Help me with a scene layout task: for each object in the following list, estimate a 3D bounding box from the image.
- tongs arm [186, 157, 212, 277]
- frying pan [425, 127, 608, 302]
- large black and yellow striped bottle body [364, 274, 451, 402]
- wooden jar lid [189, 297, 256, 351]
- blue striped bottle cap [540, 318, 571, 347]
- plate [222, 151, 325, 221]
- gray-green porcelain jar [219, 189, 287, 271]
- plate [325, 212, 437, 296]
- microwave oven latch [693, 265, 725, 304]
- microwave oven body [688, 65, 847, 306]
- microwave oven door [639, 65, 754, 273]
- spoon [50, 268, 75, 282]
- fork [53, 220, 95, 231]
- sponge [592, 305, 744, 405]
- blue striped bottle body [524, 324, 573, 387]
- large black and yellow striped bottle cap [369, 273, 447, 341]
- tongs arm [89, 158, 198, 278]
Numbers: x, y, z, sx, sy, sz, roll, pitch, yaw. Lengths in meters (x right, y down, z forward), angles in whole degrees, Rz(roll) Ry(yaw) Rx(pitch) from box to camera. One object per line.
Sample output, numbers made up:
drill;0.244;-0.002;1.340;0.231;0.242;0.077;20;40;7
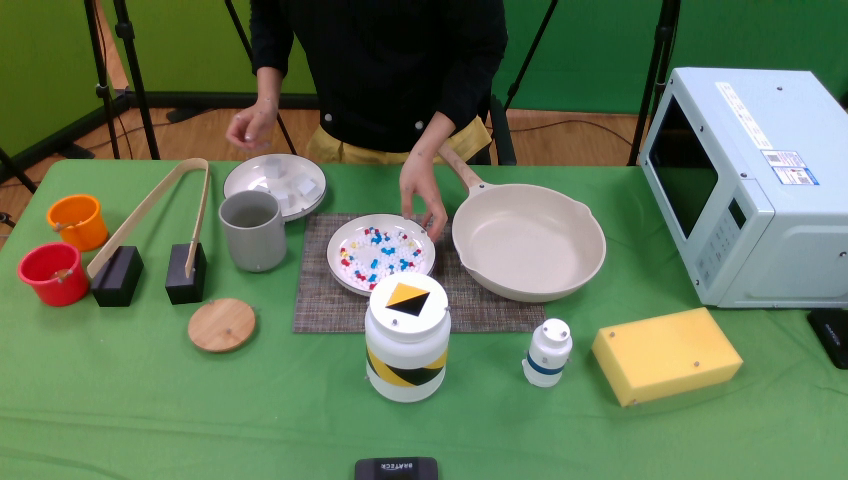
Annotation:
tongs arm;-0.445;-0.058;1.168;0.051;0.026;0.382;-5;37;-6
frying pan;0.143;-0.069;1.208;0.307;0.103;0.485;-23;60;-24
large black and yellow striped bottle body;-0.026;0.151;0.937;0.131;0.185;0.130;2;47;-2
wooden jar lid;-0.342;0.145;1.033;0.108;0.021;0.107;2;45;-2
blue striped bottle cap;0.203;0.142;0.933;0.044;0.021;0.044;3;49;-4
plate;-0.310;-0.106;1.262;0.208;0.039;0.206;2;47;-2
gray-green porcelain jar;-0.310;-0.014;1.113;0.106;0.127;0.105;2;46;-2
plate;-0.081;0.030;1.143;0.209;0.038;0.208;3;46;-3
microwave oven latch;0.523;0.081;1.116;0.030;0.029;0.078;2;46;-1
microwave oven body;0.669;-0.111;1.176;0.326;0.261;0.439;0;46;-3
microwave oven door;0.522;-0.147;1.193;0.039;0.245;0.353;0;47;-3
spoon;-0.604;0.057;1.012;0.041;0.193;0.021;-27;99;-30
fork;-0.627;-0.026;1.086;0.028;0.018;0.207;0;2;-15
sponge;0.405;0.190;1.015;0.207;0.061;0.117;-10;48;-13
blue striped bottle body;0.200;0.178;0.970;0.063;0.121;0.062;2;46;-2
large black and yellow striped bottle cap;-0.023;0.094;0.875;0.115;0.019;0.114;2;45;-2
tongs arm;-0.529;-0.058;1.164;0.028;0.028;0.385;1;36;8
